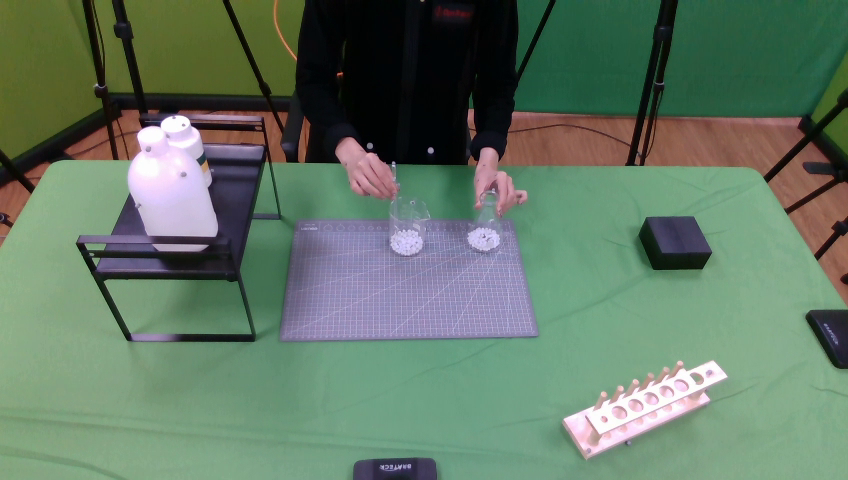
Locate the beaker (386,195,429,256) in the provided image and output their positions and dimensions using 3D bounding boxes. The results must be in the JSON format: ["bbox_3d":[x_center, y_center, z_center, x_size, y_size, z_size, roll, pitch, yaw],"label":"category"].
[{"bbox_3d":[-0.031,-0.024,1.161,0.084,0.101,0.073,18,48,12],"label":"beaker"}]

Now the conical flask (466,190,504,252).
[{"bbox_3d":[0.121,-0.040,1.170,0.075,0.122,0.075,0,47,0],"label":"conical flask"}]

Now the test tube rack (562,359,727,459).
[{"bbox_3d":[0.341,0.247,0.940,0.243,0.085,0.066,-16,49,-18],"label":"test tube rack"}]

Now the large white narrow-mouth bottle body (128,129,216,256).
[{"bbox_3d":[-0.366,-0.073,0.872,0.102,0.195,0.101,3,47,-3],"label":"large white narrow-mouth bottle body"}]

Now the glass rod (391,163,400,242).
[{"bbox_3d":[-0.052,-0.064,1.116,0.008,0.201,0.008,-1,48,1],"label":"glass rod"}]

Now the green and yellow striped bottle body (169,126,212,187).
[{"bbox_3d":[-0.389,-0.139,0.984,0.063,0.120,0.063,2,46,-2],"label":"green and yellow striped bottle body"}]

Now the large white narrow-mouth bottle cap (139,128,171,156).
[{"bbox_3d":[-0.358,-0.131,0.808,0.038,0.024,0.037,3,47,-3],"label":"large white narrow-mouth bottle cap"}]

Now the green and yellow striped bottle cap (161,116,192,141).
[{"bbox_3d":[-0.387,-0.174,0.946,0.045,0.020,0.045,3,44,-3],"label":"green and yellow striped bottle cap"}]
